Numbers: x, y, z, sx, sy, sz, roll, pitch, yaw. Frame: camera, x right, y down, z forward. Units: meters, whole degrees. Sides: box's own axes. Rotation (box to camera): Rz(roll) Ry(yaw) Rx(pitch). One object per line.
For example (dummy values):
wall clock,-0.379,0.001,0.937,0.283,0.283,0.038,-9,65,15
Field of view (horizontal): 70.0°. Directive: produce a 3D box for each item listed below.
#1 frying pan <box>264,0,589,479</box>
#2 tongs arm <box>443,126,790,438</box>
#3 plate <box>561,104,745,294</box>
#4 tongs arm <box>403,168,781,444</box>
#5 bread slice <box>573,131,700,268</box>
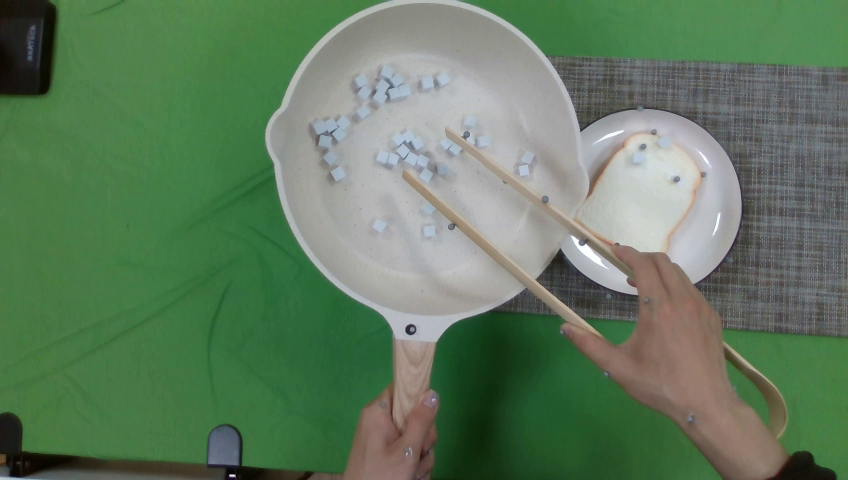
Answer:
frying pan,-0.004,0.031,0.566,0.308,0.102,0.486,8,83,-15
tongs arm,0.154,0.028,0.535,0.383,0.026,0.050,38,78,10
plate,0.241,-0.044,0.670,0.207,0.039,0.207,0,85,5
tongs arm,0.131,0.054,0.529,0.386,0.028,0.028,38,75,11
bread slice,0.239,-0.052,0.673,0.107,0.018,0.134,27,90,5
